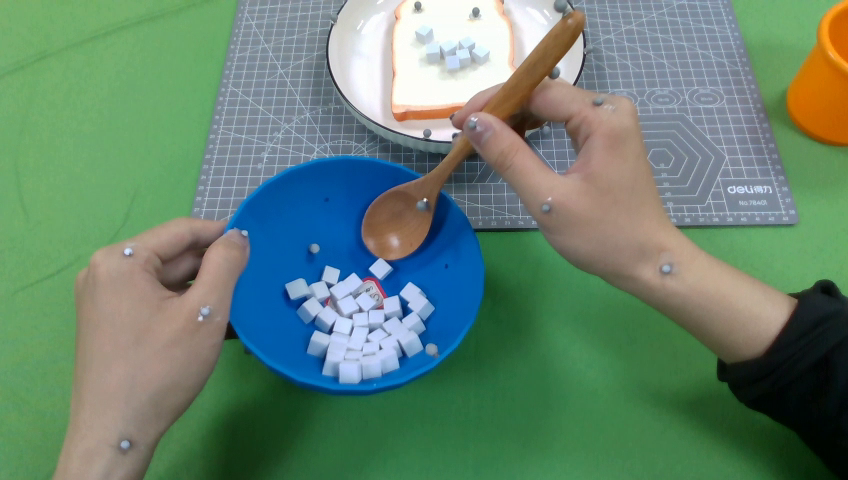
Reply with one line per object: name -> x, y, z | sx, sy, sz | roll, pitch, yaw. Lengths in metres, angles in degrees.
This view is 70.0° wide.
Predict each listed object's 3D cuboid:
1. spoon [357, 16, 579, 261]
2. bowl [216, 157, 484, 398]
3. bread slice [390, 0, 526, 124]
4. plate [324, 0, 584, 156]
spoon -> 0.017, -0.045, 0.333 | 0.041, 0.194, 0.021 | 45, 45, -1
bowl -> -0.045, 0.032, 0.374 | 0.152, 0.077, 0.150 | 5, 59, -9
bread slice -> 0.020, -0.154, 0.508 | 0.107, 0.018, 0.133 | -7, 64, 0
plate -> 0.023, -0.151, 0.503 | 0.209, 0.038, 0.207 | -1, 62, 3
